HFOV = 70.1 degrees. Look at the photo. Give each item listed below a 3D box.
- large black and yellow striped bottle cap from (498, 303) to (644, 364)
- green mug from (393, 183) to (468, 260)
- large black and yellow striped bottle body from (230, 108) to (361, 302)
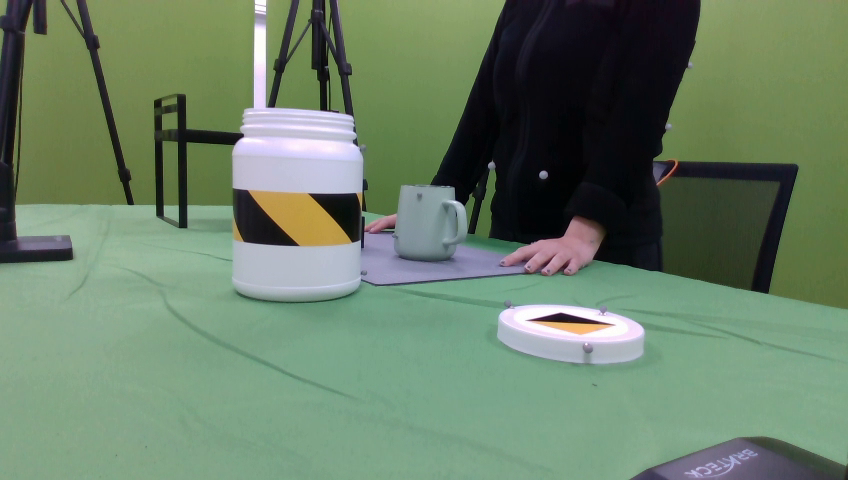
[{"bbox_3d":[0.117,0.072,0.486,0.115,0.019,0.115,1,8,0],"label":"large black and yellow striped bottle cap"},{"bbox_3d":[0.014,-0.026,0.859,0.093,0.105,0.124,-4,10,-42],"label":"green mug"},{"bbox_3d":[-0.130,-0.038,0.621,0.131,0.184,0.130,2,8,0],"label":"large black and yellow striped bottle body"}]
